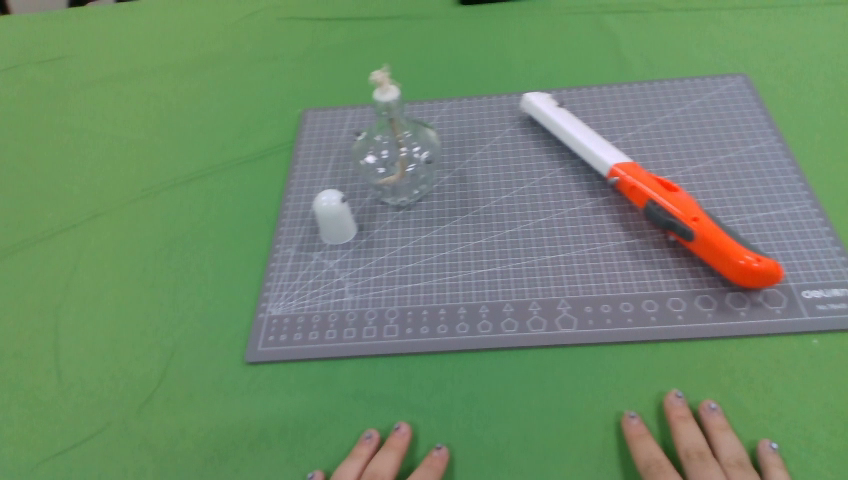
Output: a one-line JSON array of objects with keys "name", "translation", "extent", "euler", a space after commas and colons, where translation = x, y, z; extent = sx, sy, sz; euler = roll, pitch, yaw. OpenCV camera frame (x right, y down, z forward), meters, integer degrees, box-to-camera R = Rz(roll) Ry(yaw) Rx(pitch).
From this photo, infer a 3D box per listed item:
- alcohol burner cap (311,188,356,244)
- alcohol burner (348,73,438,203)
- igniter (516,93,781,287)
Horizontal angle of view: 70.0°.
[{"name": "alcohol burner cap", "translation": [-0.077, -0.023, 0.503], "extent": [0.034, 0.048, 0.033], "euler": [-3, 50, 4]}, {"name": "alcohol burner", "translation": [-0.027, -0.088, 0.505], "extent": [0.078, 0.120, 0.077], "euler": [-2, 50, 3]}, {"name": "igniter", "translation": [0.170, -0.053, 0.503], "extent": [0.057, 0.025, 0.273], "euler": [-10, 43, -31]}]
